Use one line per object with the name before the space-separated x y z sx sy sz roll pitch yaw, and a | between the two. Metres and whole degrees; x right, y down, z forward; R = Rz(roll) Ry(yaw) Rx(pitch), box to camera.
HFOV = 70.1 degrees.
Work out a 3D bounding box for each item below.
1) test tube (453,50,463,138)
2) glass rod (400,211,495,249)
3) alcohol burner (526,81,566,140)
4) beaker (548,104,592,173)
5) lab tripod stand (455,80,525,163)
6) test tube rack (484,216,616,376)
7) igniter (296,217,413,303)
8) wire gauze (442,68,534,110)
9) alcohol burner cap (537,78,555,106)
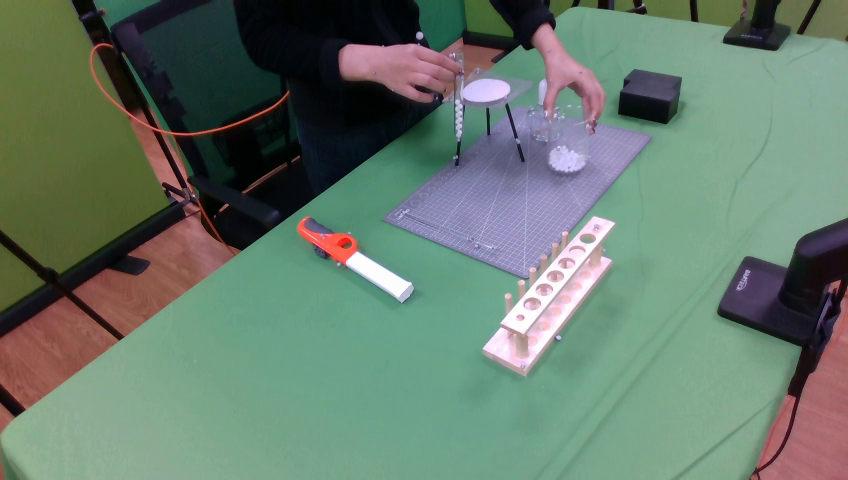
test tube | 0.056 -0.233 0.978 0.017 0.151 0.017 -2 39 2
glass rod | 0.035 -0.018 1.001 0.198 0.008 0.008 21 49 35
alcohol burner | 0.234 -0.252 1.159 0.078 0.119 0.077 -4 42 4
beaker | 0.251 -0.174 1.056 0.084 0.101 0.073 -33 44 -29
lab tripod stand | 0.120 -0.219 1.126 0.148 0.132 0.147 -4 40 4
test tube rack | 0.174 0.064 0.823 0.066 0.085 0.243 23 49 33
igniter | -0.121 0.025 0.970 0.274 0.025 0.057 29 63 37
wire gauze | 0.114 -0.269 1.081 0.120 0.011 0.125 21 49 29
alcohol burner cap | 0.229 -0.280 1.136 0.034 0.048 0.033 -6 33 5
